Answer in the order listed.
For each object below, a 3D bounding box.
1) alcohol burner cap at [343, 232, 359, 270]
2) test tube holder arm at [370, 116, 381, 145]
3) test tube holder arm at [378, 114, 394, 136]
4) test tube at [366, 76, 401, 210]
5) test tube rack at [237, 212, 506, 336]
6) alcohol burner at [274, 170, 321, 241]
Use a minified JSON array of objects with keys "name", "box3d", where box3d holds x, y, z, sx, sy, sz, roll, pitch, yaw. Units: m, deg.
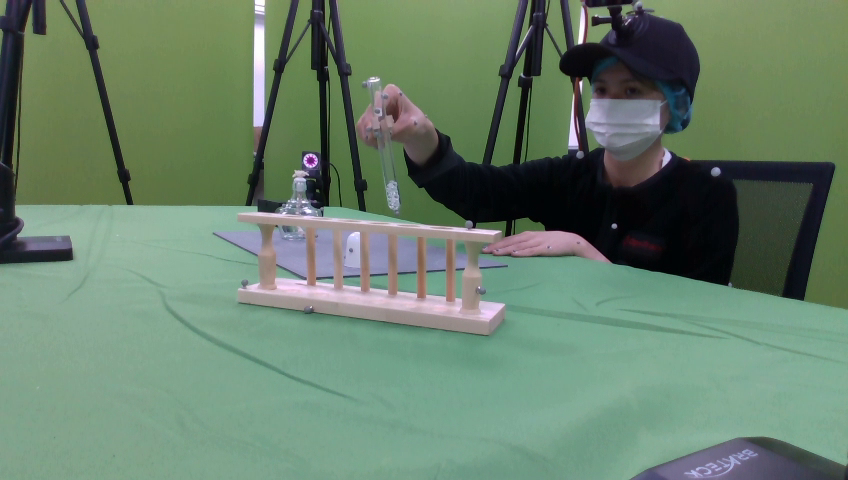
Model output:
[{"name":"alcohol burner cap","box3d":[-0.087,0.013,0.777,0.034,0.048,0.034,3,7,0]},{"name":"test tube holder arm","box3d":[-0.059,-0.132,0.741,0.013,0.015,0.178,-7,4,-5]},{"name":"test tube holder arm","box3d":[-0.047,-0.131,0.697,0.010,0.015,0.087,-8,4,-12]},{"name":"test tube","box3d":[-0.045,-0.108,0.676,0.017,0.150,0.017,-9,3,1]},{"name":"test tube rack","box3d":[-0.049,0.024,0.552,0.242,0.085,0.067,5,8,18]},{"name":"alcohol burner","box3d":[-0.212,-0.058,1.015,0.078,0.119,0.078,4,5,0]}]
